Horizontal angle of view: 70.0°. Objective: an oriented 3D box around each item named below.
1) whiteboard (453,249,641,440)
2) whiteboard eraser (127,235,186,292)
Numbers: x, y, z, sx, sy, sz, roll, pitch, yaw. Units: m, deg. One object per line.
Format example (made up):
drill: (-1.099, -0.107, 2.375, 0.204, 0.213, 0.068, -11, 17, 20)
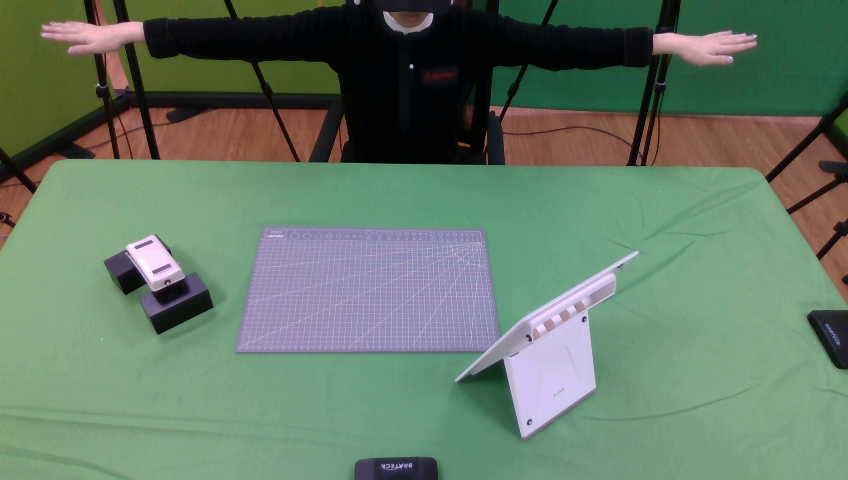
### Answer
whiteboard: (0.206, 0.174, 0.890, 0.217, 0.306, 0.143, -24, 72, -25)
whiteboard eraser: (-0.460, 0.041, 1.042, 0.055, 0.042, 0.112, -31, 55, -28)
